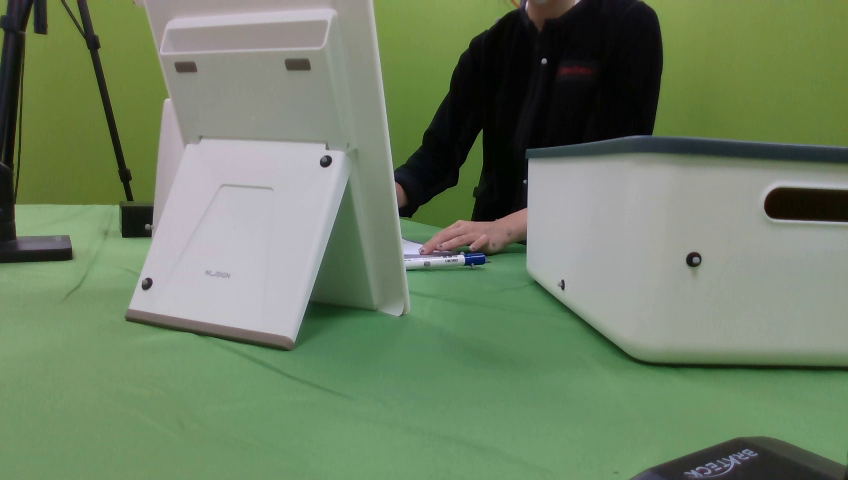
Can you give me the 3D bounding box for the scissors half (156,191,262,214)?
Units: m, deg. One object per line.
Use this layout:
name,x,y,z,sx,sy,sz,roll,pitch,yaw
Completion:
scissors half,-0.371,-0.069,1.051,0.176,0.040,0.013,2,25,-24

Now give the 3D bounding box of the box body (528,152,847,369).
box body,0.258,-0.005,0.591,0.254,0.160,0.363,2,7,-4

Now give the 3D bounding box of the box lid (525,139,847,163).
box lid,0.261,-0.078,0.580,0.264,0.015,0.371,2,7,-4

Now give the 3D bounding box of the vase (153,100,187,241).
vase,-0.278,-0.066,0.736,0.098,0.200,0.098,2,9,0

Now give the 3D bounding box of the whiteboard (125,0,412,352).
whiteboard,-0.151,-0.049,0.472,0.216,0.305,0.144,6,27,24

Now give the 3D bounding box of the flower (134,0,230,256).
flower,-0.282,-0.147,0.713,0.038,0.362,0.044,-23,24,-31

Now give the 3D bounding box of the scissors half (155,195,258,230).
scissors half,-0.378,-0.051,1.059,0.176,0.040,0.012,20,22,-31

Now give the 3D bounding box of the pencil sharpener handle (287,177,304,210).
pencil sharpener handle,-0.269,-0.096,1.257,0.036,0.067,0.030,-8,8,-27

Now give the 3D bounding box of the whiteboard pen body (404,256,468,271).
whiteboard pen body,0.013,0.030,0.792,0.141,0.017,0.017,-3,9,-24

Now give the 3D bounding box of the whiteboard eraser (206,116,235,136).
whiteboard eraser,-0.450,-0.252,1.335,0.056,0.042,0.112,1,7,-22

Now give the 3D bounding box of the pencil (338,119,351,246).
pencil,-0.119,-0.088,0.917,0.012,0.194,0.012,-3,-1,0

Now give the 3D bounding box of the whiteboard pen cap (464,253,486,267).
whiteboard pen cap,0.066,0.027,0.818,0.033,0.018,0.018,-5,10,-24

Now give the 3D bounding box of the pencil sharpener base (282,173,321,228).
pencil sharpener base,-0.247,-0.080,1.212,0.061,0.107,0.076,-2,5,-28
